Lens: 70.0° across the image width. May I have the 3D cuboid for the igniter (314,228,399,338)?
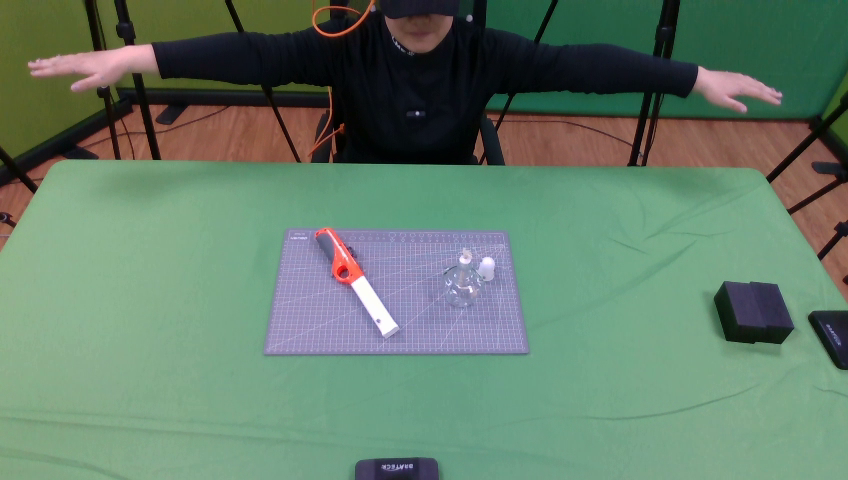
[{"bbox_3d":[-0.128,0.069,1.111,0.057,0.025,0.275,-36,57,-5],"label":"igniter"}]

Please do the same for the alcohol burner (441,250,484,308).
[{"bbox_3d":[0.069,0.064,1.075,0.078,0.120,0.077,1,45,-1],"label":"alcohol burner"}]

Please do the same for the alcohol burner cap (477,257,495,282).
[{"bbox_3d":[0.118,0.053,1.139,0.034,0.048,0.033,2,46,-2],"label":"alcohol burner cap"}]
